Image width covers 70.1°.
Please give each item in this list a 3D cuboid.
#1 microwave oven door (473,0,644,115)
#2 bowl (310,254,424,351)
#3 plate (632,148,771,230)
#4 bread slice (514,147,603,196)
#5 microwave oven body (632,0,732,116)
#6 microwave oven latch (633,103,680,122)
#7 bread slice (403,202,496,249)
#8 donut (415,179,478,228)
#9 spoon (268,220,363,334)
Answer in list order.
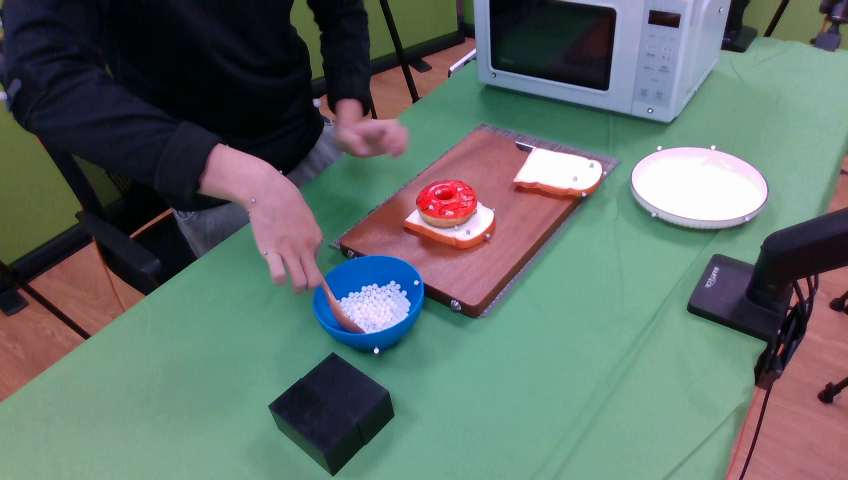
[{"bbox_3d":[0.257,-0.396,1.199,0.353,0.245,0.039,21,48,29],"label":"microwave oven door"},{"bbox_3d":[-0.071,0.097,0.821,0.151,0.077,0.150,-4,40,4],"label":"bowl"},{"bbox_3d":[0.447,-0.081,0.988,0.207,0.039,0.206,-4,40,4],"label":"plate"},{"bbox_3d":[0.233,-0.115,1.027,0.133,0.018,0.107,13,45,20],"label":"bread slice"},{"bbox_3d":[0.377,-0.462,1.267,0.438,0.261,0.327,21,48,30],"label":"microwave oven body"},{"bbox_3d":[0.444,-0.249,1.157,0.078,0.029,0.030,21,49,30],"label":"microwave oven latch"},{"bbox_3d":[0.048,-0.034,0.961,0.130,0.019,0.105,22,49,32],"label":"bread slice"},{"bbox_3d":[0.036,-0.058,0.944,0.099,0.048,0.098,-5,40,5],"label":"donut"},{"bbox_3d":[-0.141,0.051,0.789,0.022,0.194,0.041,-36,7,-21],"label":"spoon"}]
